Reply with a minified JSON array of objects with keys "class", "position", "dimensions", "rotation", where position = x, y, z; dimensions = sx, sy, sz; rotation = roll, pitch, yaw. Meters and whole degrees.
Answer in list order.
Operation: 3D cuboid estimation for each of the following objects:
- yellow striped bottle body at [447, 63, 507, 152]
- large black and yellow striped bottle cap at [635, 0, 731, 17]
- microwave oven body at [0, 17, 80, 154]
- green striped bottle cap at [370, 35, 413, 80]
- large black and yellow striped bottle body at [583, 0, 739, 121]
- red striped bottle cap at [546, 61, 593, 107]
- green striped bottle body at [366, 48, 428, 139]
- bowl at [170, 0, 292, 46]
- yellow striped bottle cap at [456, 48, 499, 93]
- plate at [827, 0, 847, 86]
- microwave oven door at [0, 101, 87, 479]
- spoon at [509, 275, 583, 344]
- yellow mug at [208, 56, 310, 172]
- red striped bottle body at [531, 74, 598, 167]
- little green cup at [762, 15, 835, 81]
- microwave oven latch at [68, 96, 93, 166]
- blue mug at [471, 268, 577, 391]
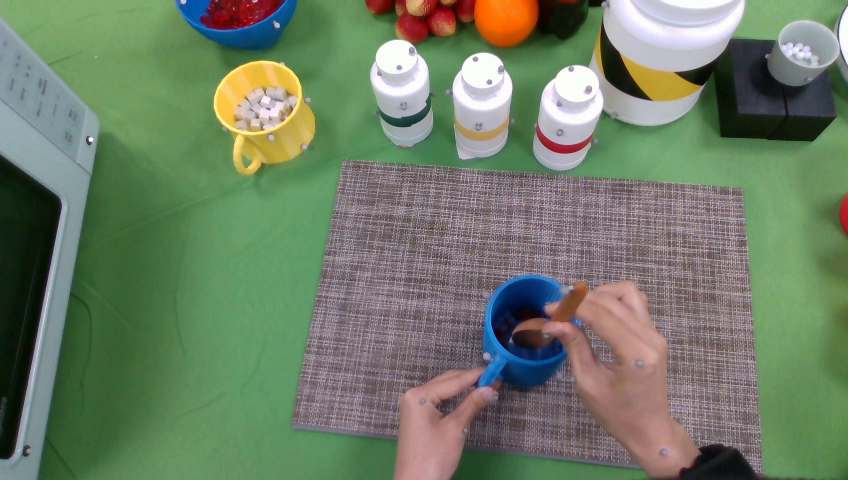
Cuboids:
[{"class":"yellow striped bottle body","position":[0.058,-0.152,0.659],"dimensions":[0.063,0.121,0.062],"rotation":[-2,68,4]},{"class":"large black and yellow striped bottle cap","position":[0.241,-0.259,0.565],"dimensions":[0.115,0.019,0.114],"rotation":[-1,67,4]},{"class":"microwave oven body","position":[-0.552,0.013,0.554],"dimensions":[0.326,0.262,0.438],"rotation":[-4,69,2]},{"class":"green striped bottle cap","position":[-0.034,-0.188,0.623],"dimensions":[0.044,0.020,0.044],"rotation":[-1,68,2]},{"class":"large black and yellow striped bottle body","position":[0.248,-0.229,0.643],"dimensions":[0.131,0.185,0.130],"rotation":[-1,68,4]},{"class":"red striped bottle cap","position":[0.144,-0.155,0.599],"dimensions":[0.044,0.018,0.044],"rotation":[0,67,0]},{"class":"green striped bottle body","position":[-0.029,-0.168,0.672],"dimensions":[0.063,0.120,0.062],"rotation":[-1,68,3]},{"class":"bowl","position":[-0.229,-0.298,0.757],"dimensions":[0.151,0.077,0.150],"rotation":[-1,69,3]},{"class":"yellow striped bottle cap","position":[0.054,-0.172,0.612],"dimensions":[0.044,0.019,0.044],"rotation":[-1,69,3]},{"class":"plate","position":[0.569,-0.219,0.698],"dimensions":[0.209,0.038,0.207],"rotation":[-1,69,3]},{"class":"microwave oven door","position":[-0.405,0.040,0.528],"dimensions":[0.039,0.245,0.353],"rotation":[-4,68,3]},{"class":"spoon","position":[0.096,0.058,0.462],"dimensions":[0.041,0.194,0.021],"rotation":[-3,74,-1]},{"class":"yellow mug","position":[-0.194,-0.139,0.699],"dimensions":[0.100,0.064,0.130],"rotation":[14,71,8]},{"class":"red striped bottle body","position":[0.149,-0.134,0.647],"dimensions":[0.063,0.120,0.062],"rotation":[-2,66,6]},{"class":"little green cup","position":[0.397,-0.203,0.647],"dimensions":[0.061,0.039,0.061],"rotation":[0,66,1]},{"class":"microwave oven latch","position":[-0.407,-0.125,0.702],"dimensions":[0.030,0.030,0.078],"rotation":[-2,69,2]},{"class":"blue mug","position":[0.083,0.094,0.565],"dimensions":[0.082,0.106,0.116],"rotation":[38,75,17]}]
